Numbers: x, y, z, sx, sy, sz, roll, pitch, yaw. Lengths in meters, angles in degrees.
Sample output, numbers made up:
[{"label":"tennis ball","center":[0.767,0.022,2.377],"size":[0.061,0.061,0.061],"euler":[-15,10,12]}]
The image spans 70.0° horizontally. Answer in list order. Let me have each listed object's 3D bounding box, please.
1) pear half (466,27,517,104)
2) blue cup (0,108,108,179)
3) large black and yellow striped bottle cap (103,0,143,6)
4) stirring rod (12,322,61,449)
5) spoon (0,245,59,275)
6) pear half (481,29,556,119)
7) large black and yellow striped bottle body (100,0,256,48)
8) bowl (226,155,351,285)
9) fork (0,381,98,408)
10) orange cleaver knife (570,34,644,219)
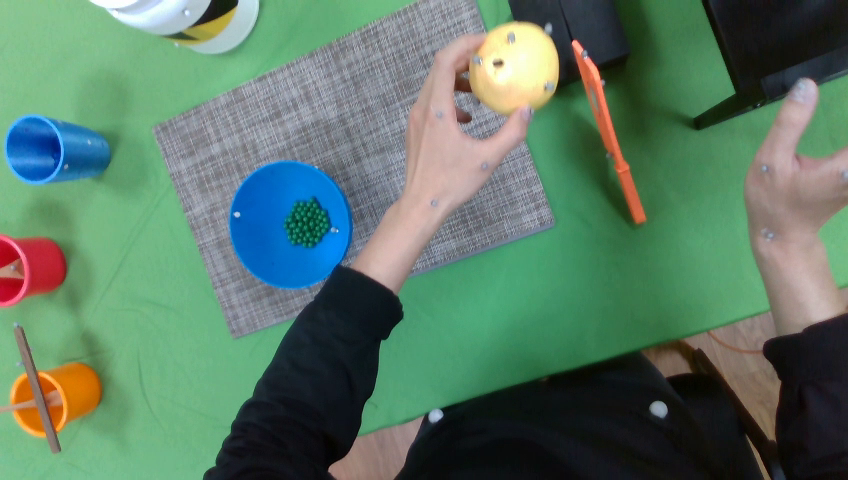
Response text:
[{"label":"pear half","center":[0.054,-0.156,0.532],"size":[0.031,0.088,0.071],"euler":[24,111,12]},{"label":"blue cup","center":[-0.467,-0.121,0.781],"size":[0.092,0.100,0.093],"euler":[1,97,10]},{"label":"large black and yellow striped bottle cap","center":[-0.304,-0.293,0.599],"size":[0.115,0.019,0.115],"euler":[2,98,13]},{"label":"stirring rod","center":[-0.512,0.192,0.799],"size":[0.014,0.006,0.176],"euler":[-15,93,11]},{"label":"spoon","center":[-0.597,0.044,0.806],"size":[0.194,0.021,0.041],"euler":[-15,95,-30]},{"label":"pear half","center":[0.082,-0.138,0.516],"size":[0.056,0.110,0.076],"euler":[25,113,13]},{"label":"large black and yellow striped bottle body","center":[-0.287,-0.300,0.680],"size":[0.130,0.184,0.131],"euler":[1,96,12]},{"label":"bowl","center":[-0.151,-0.025,0.732],"size":[0.151,0.077,0.151],"euler":[1,96,12]},{"label":"fork","center":[-0.556,0.217,0.813],"size":[0.208,0.018,0.028],"euler":[-4,107,-31]},{"label":"orange cleaver knife","center":[0.196,-0.117,0.649],"size":[0.012,0.076,0.213],"euler":[-23,120,11]}]
